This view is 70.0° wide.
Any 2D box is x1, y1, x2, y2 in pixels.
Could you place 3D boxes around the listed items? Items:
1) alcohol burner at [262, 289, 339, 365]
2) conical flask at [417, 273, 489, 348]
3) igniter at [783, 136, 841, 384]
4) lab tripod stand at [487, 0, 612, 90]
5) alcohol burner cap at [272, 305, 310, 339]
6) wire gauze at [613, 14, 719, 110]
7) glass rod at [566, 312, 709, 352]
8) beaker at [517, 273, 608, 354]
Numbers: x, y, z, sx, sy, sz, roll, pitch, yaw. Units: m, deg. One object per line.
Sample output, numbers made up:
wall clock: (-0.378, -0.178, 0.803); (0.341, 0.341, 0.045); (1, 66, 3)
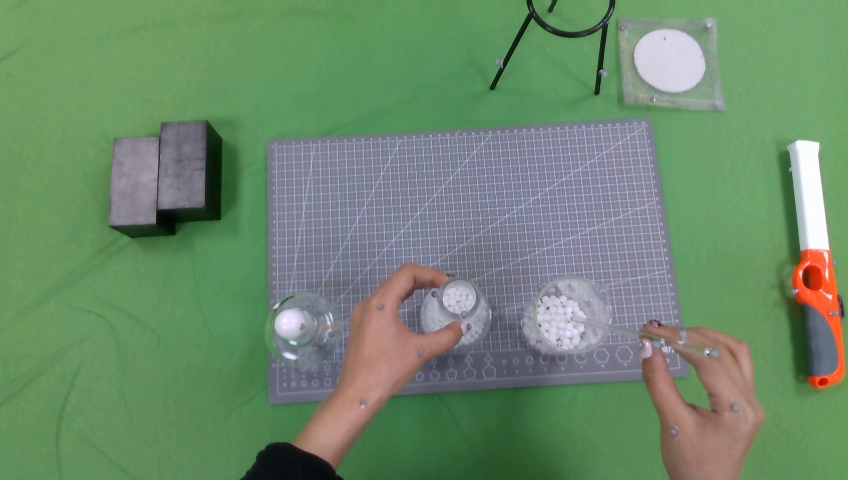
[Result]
alcohol burner: (-0.127, 0.085, 0.604); (0.078, 0.119, 0.077); (0, 77, 2)
conical flask: (0.029, 0.062, 0.581); (0.075, 0.122, 0.075); (0, 75, 1)
igniter: (0.427, 0.018, 0.670); (0.057, 0.025, 0.275); (4, 78, -10)
lab tripod stand: (0.141, -0.231, 0.668); (0.148, 0.132, 0.148); (0, 79, 0)
alcohol burner cap: (-0.126, 0.076, 0.569); (0.034, 0.048, 0.033); (1, 80, -4)
wire gauze: (0.292, -0.218, 0.730); (0.125, 0.011, 0.121); (3, 78, -2)
glass rod: (0.160, 0.070, 0.487); (0.008, 0.199, 0.008); (0, 89, -12)
beaker: (0.138, 0.076, 0.616); (0.084, 0.100, 0.073); (-37, 80, -8)
